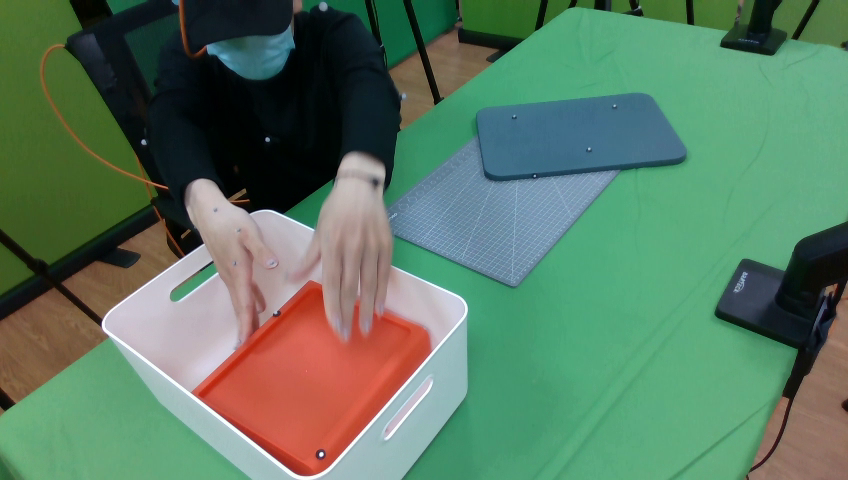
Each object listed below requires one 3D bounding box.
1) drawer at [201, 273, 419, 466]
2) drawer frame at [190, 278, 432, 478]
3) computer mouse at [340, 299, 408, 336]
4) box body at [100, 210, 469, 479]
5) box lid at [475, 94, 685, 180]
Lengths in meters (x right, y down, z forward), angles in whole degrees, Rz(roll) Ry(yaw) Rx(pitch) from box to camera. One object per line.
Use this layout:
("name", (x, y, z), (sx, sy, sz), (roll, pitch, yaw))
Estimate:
("drawer", (-0.135, 0.167, 0.727), (0.193, 0.073, 0.212), (20, 62, 23))
("drawer frame", (-0.129, 0.167, 0.738), (0.200, 0.083, 0.214), (19, 48, 27))
("computer mouse", (-0.073, 0.110, 0.773), (0.117, 0.041, 0.062), (-10, 43, 6))
("box body", (-0.152, 0.140, 0.722), (0.361, 0.161, 0.255), (22, 49, 30))
("box lid", (0.288, -0.207, 1.181), (0.371, 0.015, 0.262), (-5, 40, 2))
